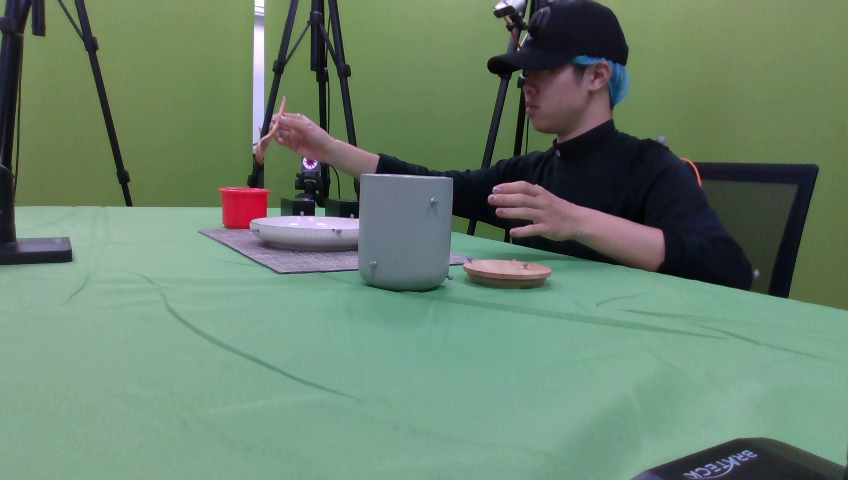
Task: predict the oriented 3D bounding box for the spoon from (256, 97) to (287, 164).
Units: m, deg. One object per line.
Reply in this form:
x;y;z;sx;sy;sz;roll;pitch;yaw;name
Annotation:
-0.299;-0.221;1.197;0.021;0.041;0.193;11;49;4;spoon

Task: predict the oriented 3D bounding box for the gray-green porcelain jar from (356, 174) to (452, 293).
-0.023;-0.009;0.683;0.106;0.126;0.106;2;7;0;gray-green porcelain jar

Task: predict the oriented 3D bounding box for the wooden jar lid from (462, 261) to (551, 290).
0.100;0.043;0.742;0.108;0.020;0.108;2;6;0;wooden jar lid

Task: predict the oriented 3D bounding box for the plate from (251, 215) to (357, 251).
-0.170;-0.012;0.971;0.208;0.039;0.207;2;7;0;plate
